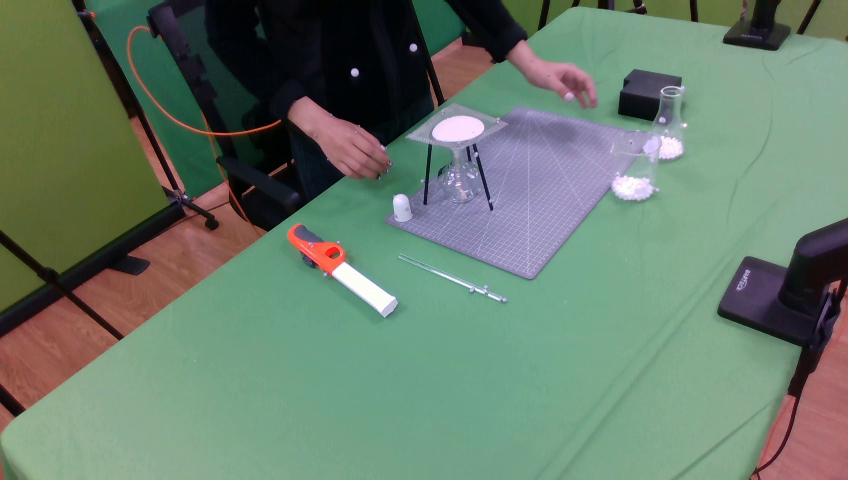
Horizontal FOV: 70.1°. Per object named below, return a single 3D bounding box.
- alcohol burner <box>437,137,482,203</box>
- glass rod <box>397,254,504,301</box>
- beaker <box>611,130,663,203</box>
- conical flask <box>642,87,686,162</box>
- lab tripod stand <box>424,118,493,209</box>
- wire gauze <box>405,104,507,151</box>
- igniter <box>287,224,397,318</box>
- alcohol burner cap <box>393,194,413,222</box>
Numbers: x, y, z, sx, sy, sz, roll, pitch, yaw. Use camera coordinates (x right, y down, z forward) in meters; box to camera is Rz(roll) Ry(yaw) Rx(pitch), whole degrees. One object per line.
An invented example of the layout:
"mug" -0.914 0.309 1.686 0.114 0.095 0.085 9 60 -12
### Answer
"alcohol burner" 0.060 -0.125 1.045 0.078 0.119 0.077 -5 38 4
"glass rod" 0.036 0.054 0.922 0.198 0.008 0.008 22 50 31
"beaker" 0.346 -0.118 0.998 0.084 0.101 0.073 -17 40 -7
"conical flask" 0.429 -0.206 1.067 0.075 0.122 0.075 -6 40 6
"lab tripod stand" 0.061 -0.133 1.038 0.148 0.132 0.147 -6 39 6
"wire gauze" 0.053 -0.184 0.996 0.120 0.011 0.125 26 50 37
"igniter" -0.139 0.042 0.958 0.057 0.025 0.274 -42 49 -19
"alcohol burner cap" -0.039 -0.057 1.038 0.034 0.048 0.033 -5 40 5
